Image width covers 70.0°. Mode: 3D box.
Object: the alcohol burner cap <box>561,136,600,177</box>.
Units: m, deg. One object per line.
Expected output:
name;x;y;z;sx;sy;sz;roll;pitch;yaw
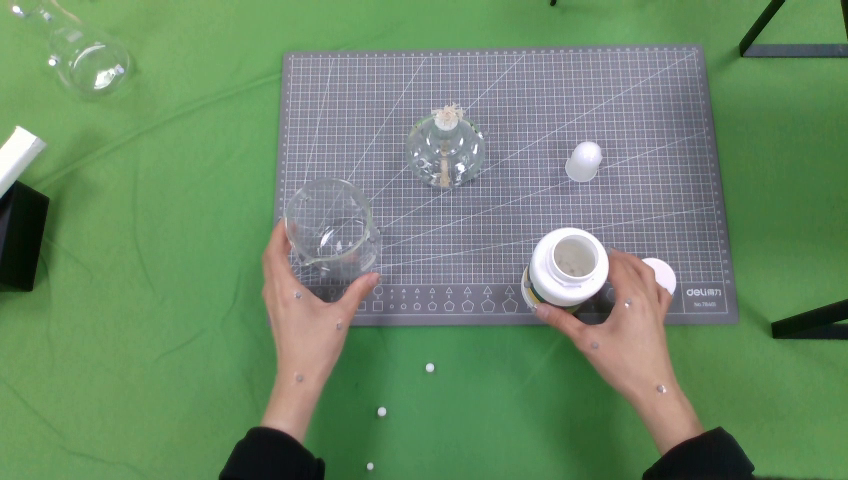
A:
alcohol burner cap;0.156;-0.085;0.598;0.034;0.048;0.033;0;75;2

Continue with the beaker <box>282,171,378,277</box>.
beaker;-0.082;-0.007;0.556;0.074;0.101;0.084;27;78;9

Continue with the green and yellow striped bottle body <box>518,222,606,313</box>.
green and yellow striped bottle body;0.120;0.024;0.530;0.063;0.120;0.063;0;74;2

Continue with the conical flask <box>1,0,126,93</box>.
conical flask;-0.364;-0.208;0.608;0.075;0.122;0.075;-1;75;2

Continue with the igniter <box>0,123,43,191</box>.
igniter;-0.455;0.008;0.555;0.057;0.025;0.276;29;77;19

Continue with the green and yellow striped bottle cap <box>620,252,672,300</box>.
green and yellow striped bottle cap;0.213;0.034;0.579;0.045;0.020;0.045;1;76;-2

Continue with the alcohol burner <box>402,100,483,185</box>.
alcohol burner;0.017;-0.097;0.568;0.078;0.119;0.077;0;74;0
